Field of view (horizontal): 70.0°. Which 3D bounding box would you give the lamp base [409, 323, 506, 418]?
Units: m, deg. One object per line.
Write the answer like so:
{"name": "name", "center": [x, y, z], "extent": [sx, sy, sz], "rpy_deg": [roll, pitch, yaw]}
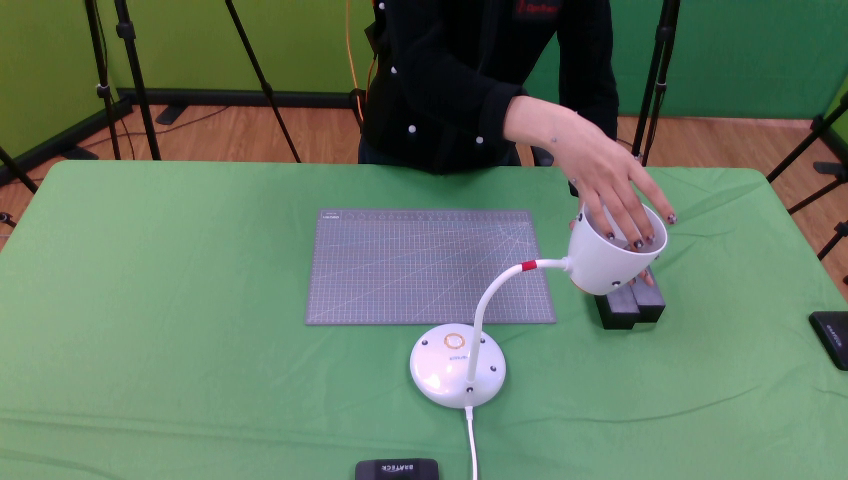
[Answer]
{"name": "lamp base", "center": [0.063, 0.161, 0.940], "extent": [0.161, 0.181, 0.178], "rpy_deg": [-10, 51, -13]}

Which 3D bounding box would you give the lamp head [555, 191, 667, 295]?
{"name": "lamp head", "center": [0.235, 0.015, 0.793], "extent": [0.113, 0.123, 0.111], "rpy_deg": [13, 43, -13]}

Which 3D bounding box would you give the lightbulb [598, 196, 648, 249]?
{"name": "lightbulb", "center": [0.246, -0.008, 0.780], "extent": [0.059, 0.108, 0.059], "rpy_deg": [9, 38, -7]}
